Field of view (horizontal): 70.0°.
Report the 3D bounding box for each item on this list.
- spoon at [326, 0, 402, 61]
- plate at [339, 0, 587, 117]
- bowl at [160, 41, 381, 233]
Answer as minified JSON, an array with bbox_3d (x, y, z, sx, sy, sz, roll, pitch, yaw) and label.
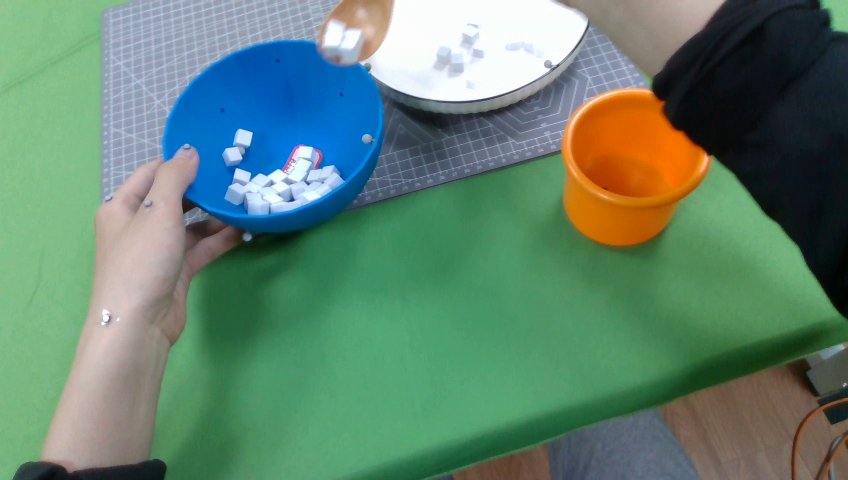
[{"bbox_3d":[0.002,-0.194,0.373,0.041,0.022,0.194,40,105,13],"label":"spoon"},{"bbox_3d":[0.031,-0.186,0.518,0.209,0.038,0.207,-2,64,5],"label":"plate"},{"bbox_3d":[-0.100,-0.061,0.440,0.151,0.077,0.150,-2,63,5],"label":"bowl"}]
